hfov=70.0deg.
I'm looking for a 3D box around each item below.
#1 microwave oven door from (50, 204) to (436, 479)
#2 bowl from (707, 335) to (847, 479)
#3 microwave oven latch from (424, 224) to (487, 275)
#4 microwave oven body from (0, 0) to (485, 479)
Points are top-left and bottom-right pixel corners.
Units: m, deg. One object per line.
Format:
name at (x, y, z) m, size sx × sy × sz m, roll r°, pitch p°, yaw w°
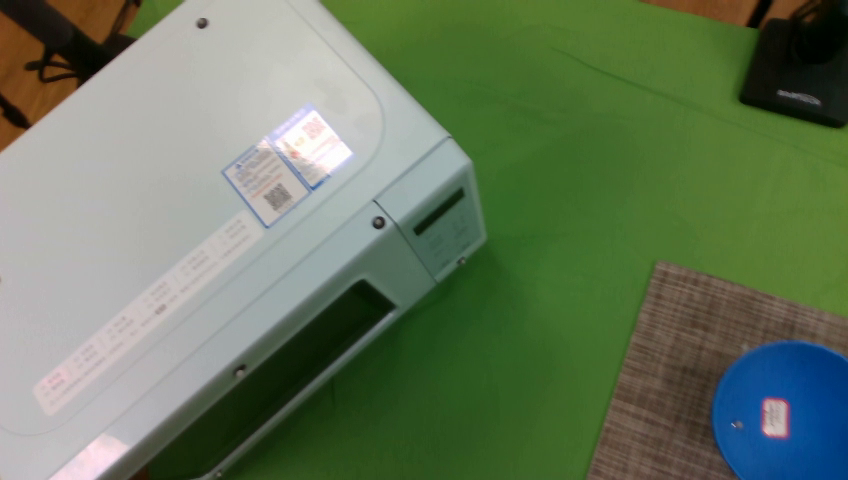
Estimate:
microwave oven door at (-0.147, 0.121, 0.570) m, size 0.356 × 0.245 × 0.039 m, roll -42°, pitch 72°, yaw -3°
bowl at (0.343, 0.170, 0.581) m, size 0.151 × 0.077 × 0.150 m, roll -2°, pitch 75°, yaw 8°
microwave oven latch at (0.034, 0.003, 0.678) m, size 0.079 × 0.030 × 0.030 m, roll -40°, pitch 74°, yaw -2°
microwave oven body at (-0.209, -0.009, 0.618) m, size 0.441 × 0.262 × 0.324 m, roll -42°, pitch 74°, yaw -3°
